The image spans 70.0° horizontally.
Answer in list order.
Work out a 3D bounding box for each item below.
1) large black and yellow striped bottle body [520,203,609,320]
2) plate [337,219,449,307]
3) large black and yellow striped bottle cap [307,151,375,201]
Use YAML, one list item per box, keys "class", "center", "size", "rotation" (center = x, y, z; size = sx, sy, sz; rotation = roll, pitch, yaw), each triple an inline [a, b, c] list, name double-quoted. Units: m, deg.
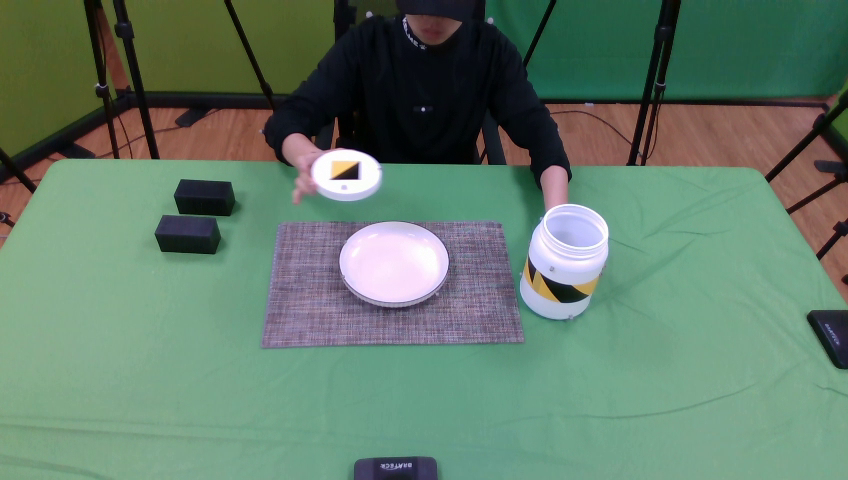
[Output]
- class: "large black and yellow striped bottle body"
  center: [0.247, 0.038, 1.065]
  size: [0.131, 0.185, 0.130]
  rotation: [2, 46, -2]
- class: "plate"
  center: [-0.057, 0.045, 1.132]
  size: [0.208, 0.039, 0.206]
  rotation: [2, 46, -2]
- class: "large black and yellow striped bottle cap"
  center: [-0.139, -0.110, 1.022]
  size: [0.115, 0.019, 0.114]
  rotation: [4, 45, -4]
